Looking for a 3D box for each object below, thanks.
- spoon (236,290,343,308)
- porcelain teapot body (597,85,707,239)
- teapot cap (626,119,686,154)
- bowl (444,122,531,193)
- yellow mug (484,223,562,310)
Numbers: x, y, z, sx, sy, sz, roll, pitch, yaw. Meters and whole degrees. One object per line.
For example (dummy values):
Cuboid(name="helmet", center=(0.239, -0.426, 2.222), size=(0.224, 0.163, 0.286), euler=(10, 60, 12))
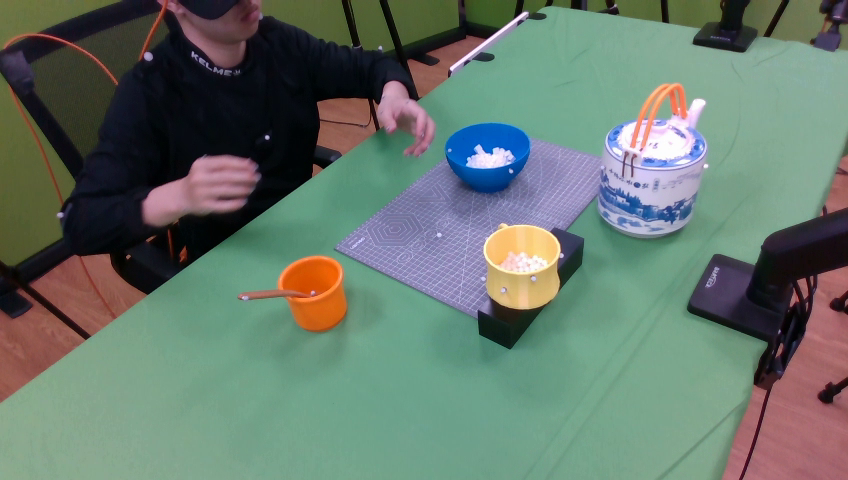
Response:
Cuboid(name="spoon", center=(-0.175, 0.076, 0.808), size=(0.041, 0.195, 0.021), euler=(23, 93, 30))
Cuboid(name="porcelain teapot body", center=(0.362, -0.137, 0.921), size=(0.144, 0.226, 0.206), euler=(29, 51, 36))
Cuboid(name="teapot cap", center=(0.338, -0.153, 0.882), size=(0.085, 0.044, 0.085), euler=(-3, 38, 3))
Cuboid(name="bowl", center=(0.113, -0.136, 1.063), size=(0.151, 0.077, 0.150), euler=(-4, 41, 4))
Cuboid(name="yellow mug", center=(0.126, 0.025, 0.811), size=(0.100, 0.064, 0.130), euler=(-16, 39, -9))
